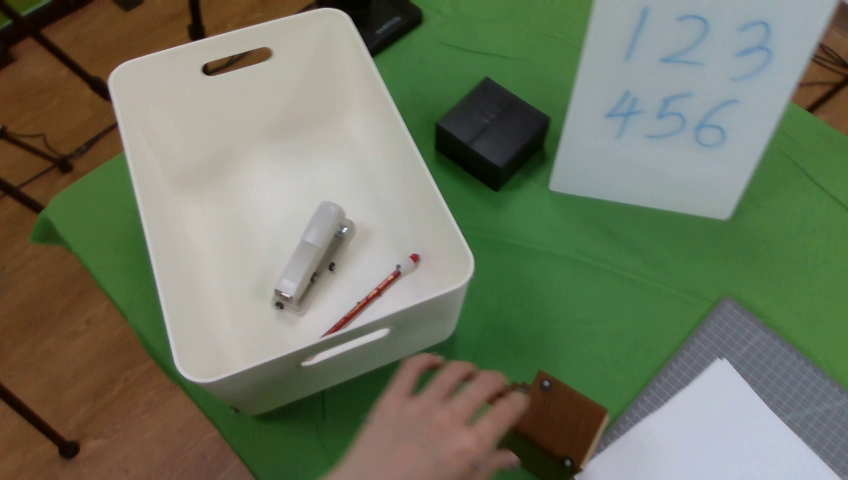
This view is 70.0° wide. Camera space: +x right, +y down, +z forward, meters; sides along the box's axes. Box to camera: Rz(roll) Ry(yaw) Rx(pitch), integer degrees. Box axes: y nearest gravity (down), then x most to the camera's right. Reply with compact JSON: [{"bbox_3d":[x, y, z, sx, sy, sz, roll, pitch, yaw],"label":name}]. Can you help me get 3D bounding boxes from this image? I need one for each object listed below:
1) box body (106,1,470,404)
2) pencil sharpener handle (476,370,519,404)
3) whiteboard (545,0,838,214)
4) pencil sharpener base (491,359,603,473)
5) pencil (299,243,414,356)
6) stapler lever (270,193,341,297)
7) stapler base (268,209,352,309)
[{"bbox_3d":[-0.139,-0.042,0.630,0.254,0.161,0.360,-21,65,-11],"label":"box body"},{"bbox_3d":[0.065,0.133,0.560,0.030,0.068,0.036,29,68,15],"label":"pencil sharpener handle"},{"bbox_3d":[0.277,-0.205,0.679,0.217,0.308,0.142,11,43,5],"label":"whiteboard"},{"bbox_3d":[0.107,0.163,0.559,0.076,0.108,0.061,29,66,14],"label":"pencil sharpener base"},{"bbox_3d":[-0.078,0.070,0.652,0.012,0.012,0.194,39,68,18],"label":"pencil"},{"bbox_3d":[-0.126,0.002,0.649,0.026,0.040,0.117,22,67,13],"label":"stapler lever"},{"bbox_3d":[-0.126,0.012,0.673,0.041,0.024,0.130,22,66,12],"label":"stapler base"}]
